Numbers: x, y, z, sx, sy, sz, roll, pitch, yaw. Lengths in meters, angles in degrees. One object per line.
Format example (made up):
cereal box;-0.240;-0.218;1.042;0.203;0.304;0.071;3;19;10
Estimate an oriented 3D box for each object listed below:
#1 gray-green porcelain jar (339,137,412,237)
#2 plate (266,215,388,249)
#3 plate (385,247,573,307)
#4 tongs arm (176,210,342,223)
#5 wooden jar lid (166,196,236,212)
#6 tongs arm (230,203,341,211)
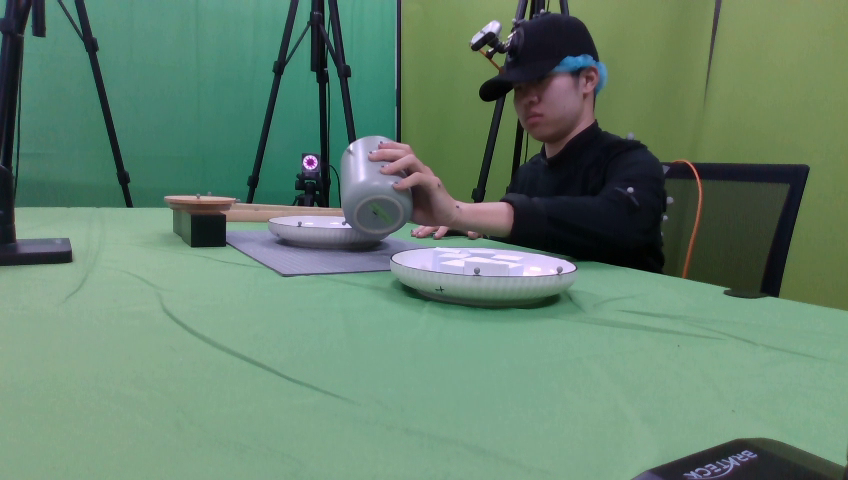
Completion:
gray-green porcelain jar;-0.073;-0.076;0.903;0.106;0.106;0.126;1;43;-11
plate;-0.159;-0.015;1.019;0.209;0.038;0.209;3;7;0
plate;0.060;0.041;0.678;0.208;0.039;0.207;3;7;0
tongs arm;-0.337;-0.053;1.329;0.389;0.028;0.028;-1;6;-27
wooden jar lid;-0.369;-0.060;1.001;0.108;0.020;0.108;3;6;0
tongs arm;-0.362;-0.068;1.406;0.386;0.026;0.050;2;9;-14
